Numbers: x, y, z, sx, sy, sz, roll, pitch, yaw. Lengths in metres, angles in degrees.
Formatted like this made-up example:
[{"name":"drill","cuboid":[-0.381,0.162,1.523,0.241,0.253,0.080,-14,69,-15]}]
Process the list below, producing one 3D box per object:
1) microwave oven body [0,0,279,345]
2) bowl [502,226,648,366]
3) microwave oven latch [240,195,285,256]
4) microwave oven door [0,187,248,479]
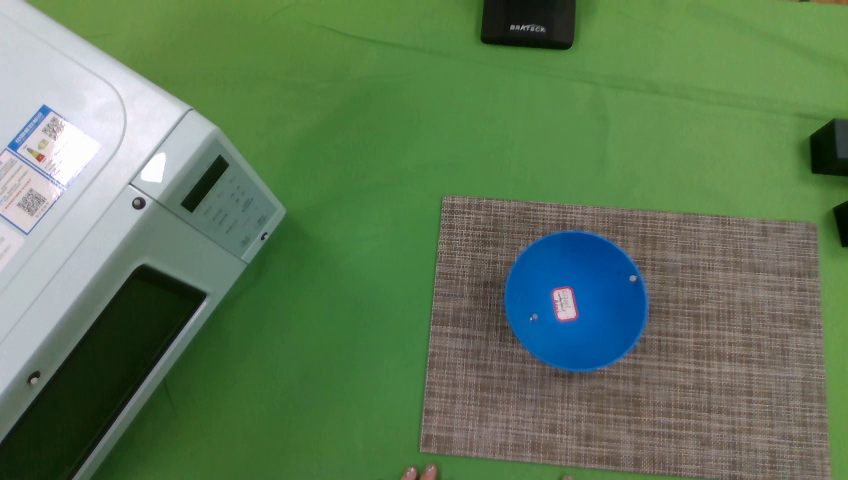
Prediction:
[{"name":"microwave oven body","cuboid":[-0.419,0.021,0.599,0.325,0.261,0.441,33,80,8]},{"name":"bowl","cuboid":[0.158,0.067,0.671,0.151,0.077,0.150,0,76,1]},{"name":"microwave oven latch","cuboid":[-0.195,-0.021,0.705,0.030,0.029,0.079,35,80,8]},{"name":"microwave oven door","cuboid":[-0.320,0.131,0.566,0.039,0.245,0.355,32,79,9]}]
